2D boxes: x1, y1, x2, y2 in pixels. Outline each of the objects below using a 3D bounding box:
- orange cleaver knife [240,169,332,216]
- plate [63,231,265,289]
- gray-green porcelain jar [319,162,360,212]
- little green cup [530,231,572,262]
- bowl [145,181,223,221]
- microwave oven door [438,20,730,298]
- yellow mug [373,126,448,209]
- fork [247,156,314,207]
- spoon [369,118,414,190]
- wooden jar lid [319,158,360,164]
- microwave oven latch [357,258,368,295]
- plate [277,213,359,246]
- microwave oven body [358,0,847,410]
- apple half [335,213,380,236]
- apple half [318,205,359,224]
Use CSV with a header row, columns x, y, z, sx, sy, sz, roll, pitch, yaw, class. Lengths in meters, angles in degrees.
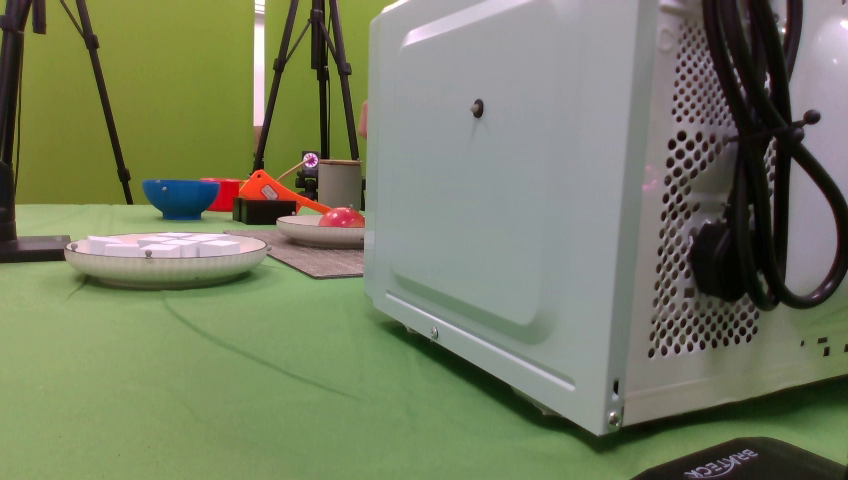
x,y,z,sx,sy,sz,roll,pitch,yaw,class
-0.286,-0.082,1.298,0.212,0.077,0.012,25,-2,-31,orange cleaver knife
-0.288,0.021,0.687,0.208,0.039,0.207,2,8,0,plate
-0.204,-0.126,1.489,0.106,0.126,0.106,2,7,0,gray-green porcelain jar
0.183,0.010,0.880,0.061,0.038,0.061,4,7,0,little green cup
-0.499,-0.081,1.261,0.151,0.077,0.151,2,8,0,bowl
0.181,-0.076,0.618,0.358,0.243,0.039,-2,8,-28,microwave oven door
-0.013,-0.118,0.940,0.100,0.130,0.063,-2,44,-48,yellow mug
-0.360,-0.147,1.523,0.207,0.018,0.028,-43,15,-6,fork
-0.058,-0.147,1.011,0.021,0.193,0.042,-35,-40,14,spoon
-0.203,-0.189,1.482,0.108,0.020,0.108,2,10,0,wooden jar lid
-0.019,0.031,0.529,0.079,0.029,0.030,-1,7,-26,microwave oven latch
-0.135,-0.018,0.993,0.209,0.038,0.209,2,7,0,plate
0.210,-0.051,0.471,0.444,0.260,0.324,-1,7,-28,microwave oven body
-0.112,-0.029,1.034,0.081,0.033,0.081,0,10,0,apple half
-0.126,-0.028,0.954,0.081,0.053,0.074,-2,10,-33,apple half
